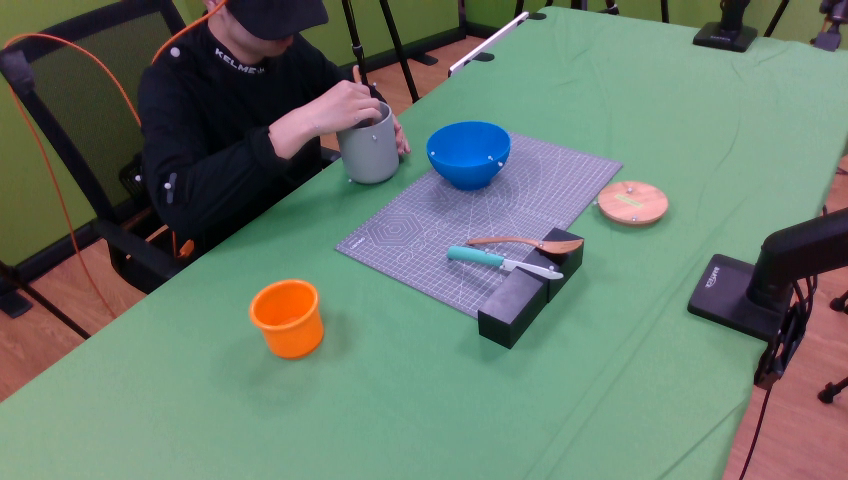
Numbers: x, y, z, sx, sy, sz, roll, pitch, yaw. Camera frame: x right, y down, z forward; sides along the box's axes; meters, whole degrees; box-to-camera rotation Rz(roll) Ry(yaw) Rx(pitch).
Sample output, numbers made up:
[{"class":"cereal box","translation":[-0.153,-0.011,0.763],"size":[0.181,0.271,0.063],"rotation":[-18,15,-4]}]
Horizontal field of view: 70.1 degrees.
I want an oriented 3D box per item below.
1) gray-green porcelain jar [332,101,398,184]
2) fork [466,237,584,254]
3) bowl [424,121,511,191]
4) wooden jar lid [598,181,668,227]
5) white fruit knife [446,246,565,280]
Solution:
[{"class":"gray-green porcelain jar","translation":[-0.105,-0.174,1.108],"size":[0.106,0.127,0.105],"rotation":[-4,40,4]},{"class":"fork","translation":[0.142,0.005,0.894],"size":[0.205,0.019,0.028],"rotation":[4,43,41]},{"class":"bowl","translation":[0.080,-0.140,1.074],"size":[0.151,0.077,0.150],"rotation":[-4,40,4]},{"class":"wooden jar lid","translation":[0.340,-0.058,0.988],"size":[0.108,0.021,0.108],"rotation":[-5,41,5]},{"class":"white fruit knife","translation":[0.111,0.033,0.868],"size":[0.205,0.027,0.016],"rotation":[11,44,40]}]
